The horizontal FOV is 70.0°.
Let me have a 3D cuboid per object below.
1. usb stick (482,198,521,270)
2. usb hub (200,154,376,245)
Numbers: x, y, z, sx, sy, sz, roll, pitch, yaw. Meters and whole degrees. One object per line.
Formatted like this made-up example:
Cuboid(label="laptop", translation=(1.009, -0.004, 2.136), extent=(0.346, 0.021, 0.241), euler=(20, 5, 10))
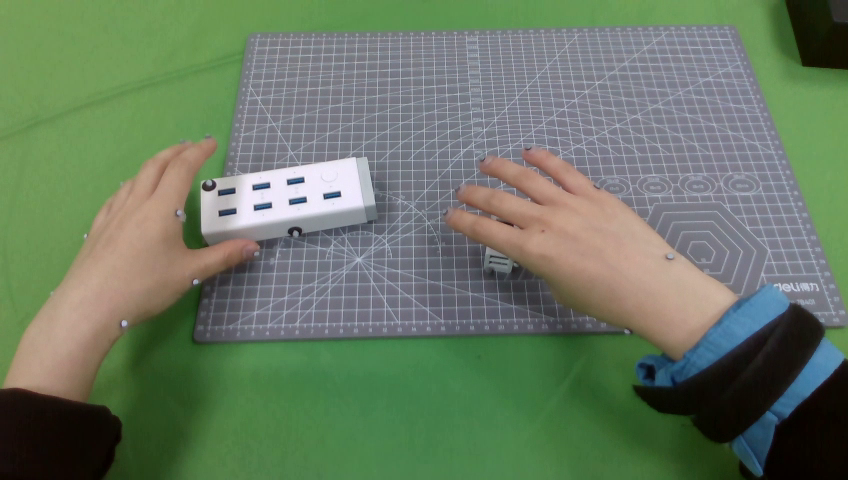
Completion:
Cuboid(label="usb stick", translation=(0.057, -0.010, 0.440), extent=(0.021, 0.027, 0.058), euler=(10, 58, 7))
Cuboid(label="usb hub", translation=(-0.102, -0.032, 0.454), extent=(0.125, 0.025, 0.049), euler=(-10, 60, -5))
